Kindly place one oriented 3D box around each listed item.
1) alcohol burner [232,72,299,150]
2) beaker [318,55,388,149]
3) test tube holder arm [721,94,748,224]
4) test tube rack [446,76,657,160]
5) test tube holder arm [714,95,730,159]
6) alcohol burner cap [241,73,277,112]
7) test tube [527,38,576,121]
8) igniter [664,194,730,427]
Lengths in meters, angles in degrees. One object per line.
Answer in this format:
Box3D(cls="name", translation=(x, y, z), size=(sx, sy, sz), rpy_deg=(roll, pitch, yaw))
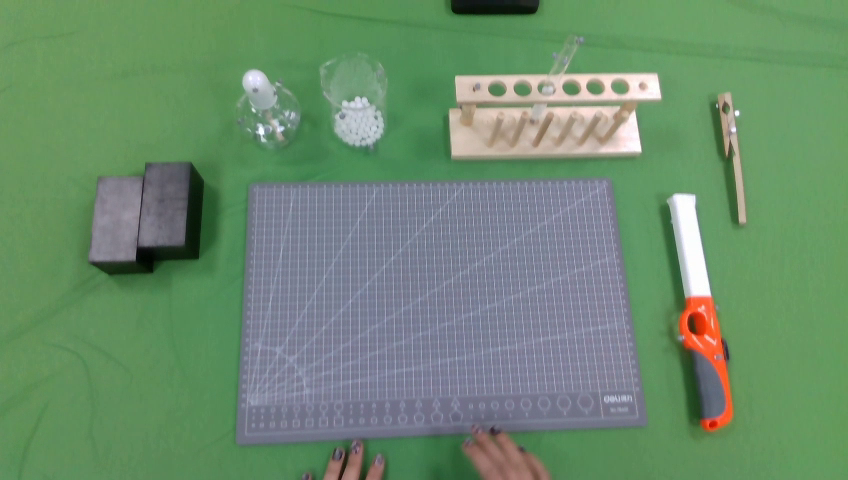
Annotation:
Box3D(cls="alcohol burner", translation=(-0.188, -0.155, 0.709), size=(0.078, 0.120, 0.077), rpy_deg=(1, 70, -3))
Box3D(cls="beaker", translation=(-0.085, -0.162, 0.726), size=(0.084, 0.101, 0.073), rpy_deg=(26, 72, 6))
Box3D(cls="test tube holder arm", translation=(0.398, -0.107, 0.780), size=(0.013, 0.015, 0.177), rpy_deg=(-12, 70, 29))
Box3D(cls="test tube rack", translation=(0.153, -0.149, 0.745), size=(0.243, 0.085, 0.066), rpy_deg=(-2, 72, -4))
Box3D(cls="test tube holder arm", translation=(0.393, -0.149, 0.796), size=(0.010, 0.015, 0.087), rpy_deg=(-10, 71, 30))
Box3D(cls="alcohol burner cap", translation=(-0.185, -0.167, 0.675), size=(0.034, 0.048, 0.033), rpy_deg=(0, 78, -1))
Box3D(cls="test tube", translation=(0.144, -0.181, 0.702), size=(0.017, 0.151, 0.017), rpy_deg=(2, 70, -6))
Box3D(cls="igniter", translation=(0.320, 0.076, 0.715), size=(0.057, 0.025, 0.275), rpy_deg=(2, 72, -13))
